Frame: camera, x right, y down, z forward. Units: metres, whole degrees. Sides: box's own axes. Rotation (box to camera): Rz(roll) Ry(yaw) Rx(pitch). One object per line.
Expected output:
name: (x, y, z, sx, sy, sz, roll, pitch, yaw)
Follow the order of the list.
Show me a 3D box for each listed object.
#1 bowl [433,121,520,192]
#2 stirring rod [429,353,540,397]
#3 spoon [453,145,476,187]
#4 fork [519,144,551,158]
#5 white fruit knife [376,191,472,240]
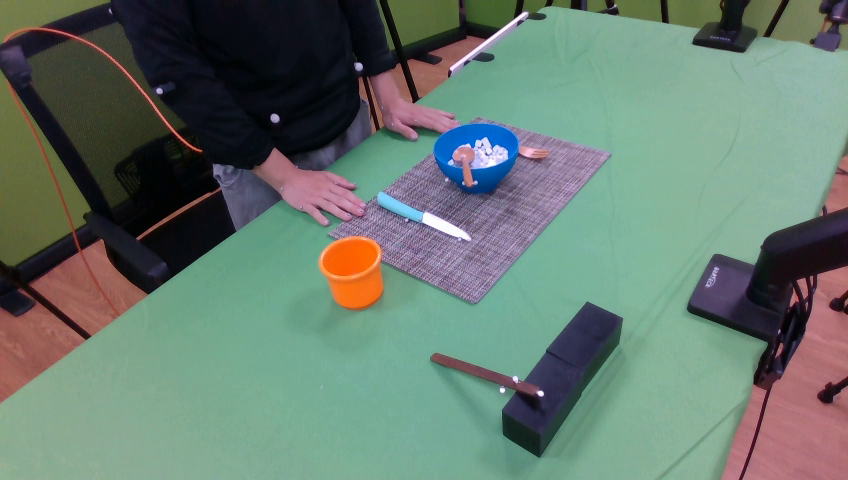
bowl: (0.093, -0.137, 1.064, 0.151, 0.077, 0.150, -4, 41, 4)
stirring rod: (0.069, 0.162, 0.737, 0.174, 0.006, 0.014, 8, 42, 47)
spoon: (0.069, -0.124, 1.000, 0.041, 0.022, 0.193, -9, 21, 6)
fork: (0.146, -0.188, 1.162, 0.206, 0.019, 0.028, 22, 59, 27)
white fruit knife: (-0.004, -0.039, 1.012, 0.206, 0.016, 0.027, 25, 60, 30)
